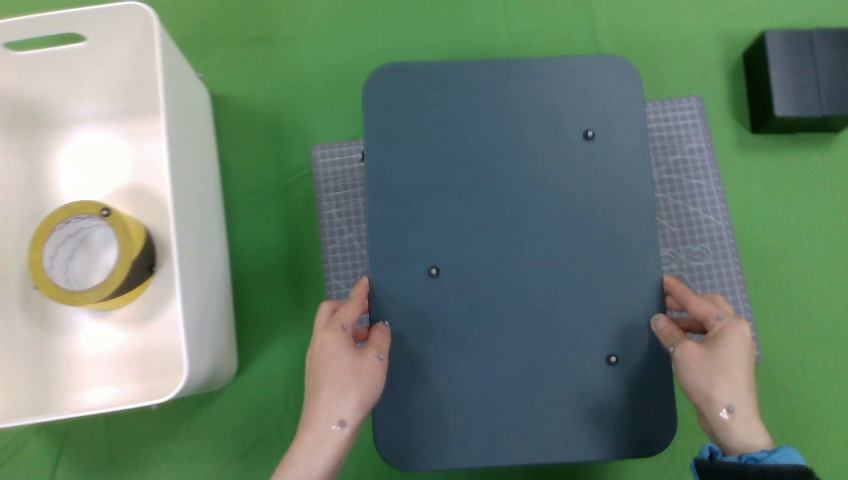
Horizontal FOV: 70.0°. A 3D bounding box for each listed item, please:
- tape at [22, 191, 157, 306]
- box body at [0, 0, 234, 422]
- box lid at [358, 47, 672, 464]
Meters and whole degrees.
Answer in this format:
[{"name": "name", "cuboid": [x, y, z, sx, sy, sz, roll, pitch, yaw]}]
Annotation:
[{"name": "tape", "cuboid": [-0.348, 0.011, 0.636, 0.117, 0.053, 0.116, 0, 80, 1]}, {"name": "box body", "cuboid": [-0.341, -0.018, 0.592, 0.254, 0.161, 0.362, -9, 80, -1]}, {"name": "box lid", "cuboid": [0.077, 0.003, 0.542, 0.263, 0.015, 0.370, -3, 83, -3]}]
